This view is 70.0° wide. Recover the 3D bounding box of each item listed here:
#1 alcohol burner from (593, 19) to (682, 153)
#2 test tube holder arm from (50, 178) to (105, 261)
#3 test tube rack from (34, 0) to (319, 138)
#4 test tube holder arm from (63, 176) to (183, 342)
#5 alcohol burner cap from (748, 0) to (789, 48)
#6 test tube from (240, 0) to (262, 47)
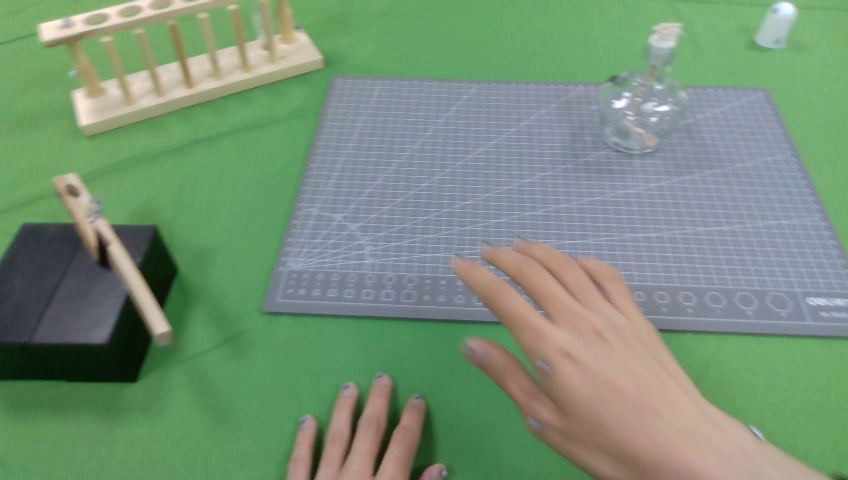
[{"bbox_3d":[0.191,-0.136,0.531,0.078,0.120,0.077,0,48,0],"label":"alcohol burner"},{"bbox_3d":[-0.246,-0.016,0.434,0.010,0.015,0.087,-30,56,-32],"label":"test tube holder arm"},{"bbox_3d":[-0.235,-0.189,0.603,0.243,0.086,0.066,-22,53,-17],"label":"test tube rack"},{"bbox_3d":[-0.212,0.008,0.416,0.013,0.015,0.177,-31,57,-32],"label":"test tube holder arm"},{"bbox_3d":[0.383,-0.240,0.668,0.034,0.048,0.033,-1,50,2],"label":"alcohol burner cap"},{"bbox_3d":[-0.182,-0.260,0.597,0.017,0.152,0.017,-4,48,4],"label":"test tube"}]
